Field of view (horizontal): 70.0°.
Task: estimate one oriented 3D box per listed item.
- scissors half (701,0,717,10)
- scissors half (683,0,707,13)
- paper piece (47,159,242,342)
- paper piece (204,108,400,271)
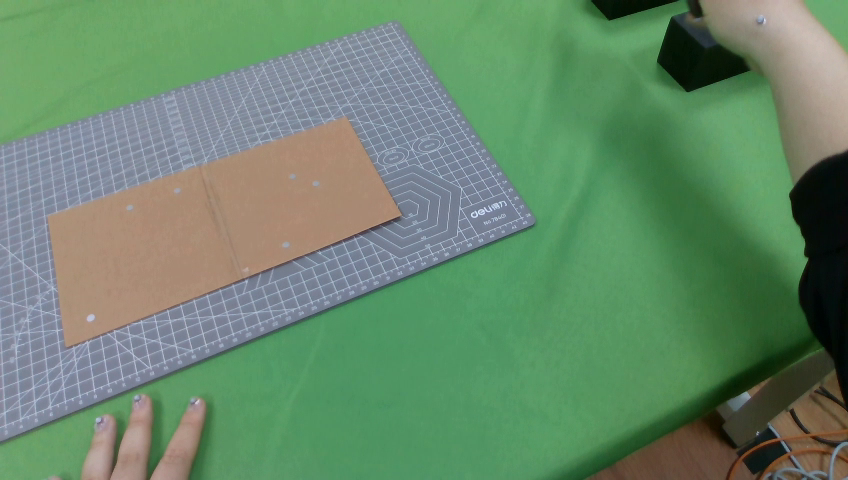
[{"bbox_3d":[0.202,-0.266,0.464,0.012,0.176,0.040,-3,25,46],"label":"scissors half"},{"bbox_3d":[0.189,-0.259,0.451,0.013,0.175,0.040,-6,8,41],"label":"scissors half"},{"bbox_3d":[-0.229,0.000,0.490,0.138,0.009,0.134,-22,54,-10],"label":"paper piece"},{"bbox_3d":[-0.107,-0.050,0.516,0.135,0.004,0.134,-22,57,-11],"label":"paper piece"}]
